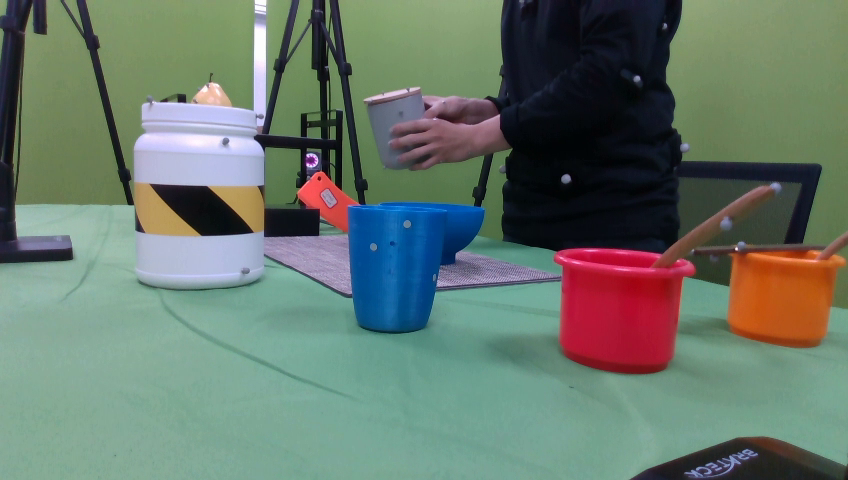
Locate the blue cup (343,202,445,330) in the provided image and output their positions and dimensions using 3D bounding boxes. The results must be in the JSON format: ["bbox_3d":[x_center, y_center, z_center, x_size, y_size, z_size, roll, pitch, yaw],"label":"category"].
[{"bbox_3d":[-0.027,0.021,0.510,0.093,0.100,0.092,3,5,0],"label":"blue cup"}]

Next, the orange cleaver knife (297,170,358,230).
[{"bbox_3d":[-0.149,-0.058,1.170,0.212,0.077,0.012,33,-15,-32],"label":"orange cleaver knife"}]

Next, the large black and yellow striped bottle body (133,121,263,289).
[{"bbox_3d":[-0.243,-0.048,0.659,0.131,0.184,0.130,2,7,0],"label":"large black and yellow striped bottle body"}]

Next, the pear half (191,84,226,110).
[{"bbox_3d":[-0.406,-0.248,1.128,0.070,0.088,0.031,5,7,2],"label":"pear half"}]

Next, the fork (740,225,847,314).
[{"bbox_3d":[0.323,0.013,0.485,0.028,0.018,0.207,9,-38,-5],"label":"fork"}]

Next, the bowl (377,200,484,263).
[{"bbox_3d":[0.008,-0.012,0.842,0.151,0.077,0.151,2,7,0],"label":"bowl"}]

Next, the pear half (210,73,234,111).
[{"bbox_3d":[-0.402,-0.262,1.162,0.076,0.109,0.056,7,7,2],"label":"pear half"}]

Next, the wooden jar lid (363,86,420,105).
[{"bbox_3d":[-0.058,-0.260,1.107,0.108,0.021,0.108,-12,19,4],"label":"wooden jar lid"}]

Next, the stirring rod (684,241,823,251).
[{"bbox_3d":[0.290,0.005,0.525,0.177,0.006,0.014,-1,5,-26],"label":"stirring rod"}]

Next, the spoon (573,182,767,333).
[{"bbox_3d":[0.158,0.020,0.412,0.042,0.021,0.193,-2,-35,-21],"label":"spoon"}]

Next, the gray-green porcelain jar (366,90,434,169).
[{"bbox_3d":[-0.042,-0.203,1.125,0.106,0.126,0.106,-14,17,5],"label":"gray-green porcelain jar"}]

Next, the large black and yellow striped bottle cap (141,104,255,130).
[{"bbox_3d":[-0.241,-0.131,0.650,0.115,0.019,0.115,3,8,0],"label":"large black and yellow striped bottle cap"}]
